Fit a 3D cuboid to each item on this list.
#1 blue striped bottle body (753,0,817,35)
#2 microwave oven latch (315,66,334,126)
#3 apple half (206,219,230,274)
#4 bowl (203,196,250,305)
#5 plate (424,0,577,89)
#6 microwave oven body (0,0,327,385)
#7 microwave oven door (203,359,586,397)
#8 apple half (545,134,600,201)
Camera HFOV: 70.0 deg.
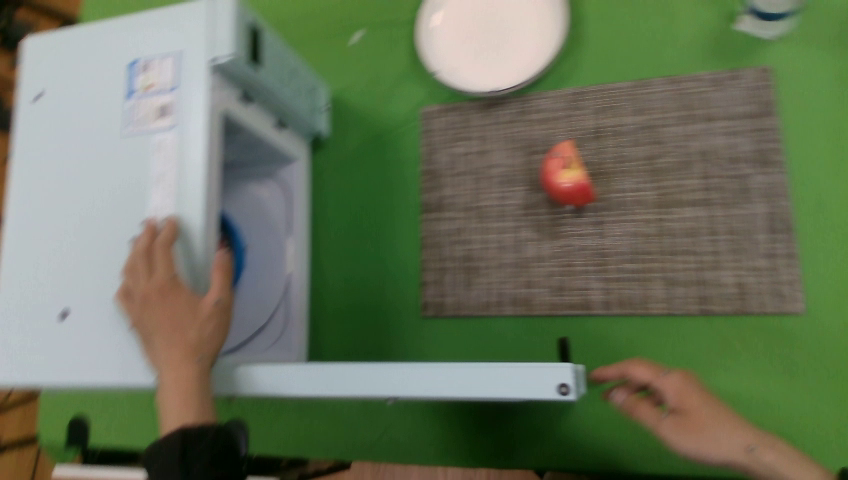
[{"bbox_3d":[0.423,-0.293,0.692,0.063,0.121,0.063,-3,77,16],"label":"blue striped bottle body"},{"bbox_3d":[-0.147,-0.206,0.866,0.030,0.030,0.079,2,80,16],"label":"microwave oven latch"},{"bbox_3d":[-0.295,0.008,0.793,0.081,0.033,0.081,1,94,13],"label":"apple half"},{"bbox_3d":[-0.286,0.013,0.803,0.151,0.077,0.151,-1,88,22],"label":"bowl"},{"bbox_3d":[0.104,-0.300,0.832,0.207,0.039,0.206,-3,78,15],"label":"plate"},{"bbox_3d":[-0.314,-0.042,0.780,0.325,0.262,0.439,-3,79,15],"label":"microwave oven body"},{"bbox_3d":[-0.014,0.144,0.650,0.355,0.245,0.039,-4,77,16],"label":"microwave oven door"},{"bbox_3d":[0.178,-0.082,0.743,0.053,0.075,0.080,-23,77,16],"label":"apple half"}]
